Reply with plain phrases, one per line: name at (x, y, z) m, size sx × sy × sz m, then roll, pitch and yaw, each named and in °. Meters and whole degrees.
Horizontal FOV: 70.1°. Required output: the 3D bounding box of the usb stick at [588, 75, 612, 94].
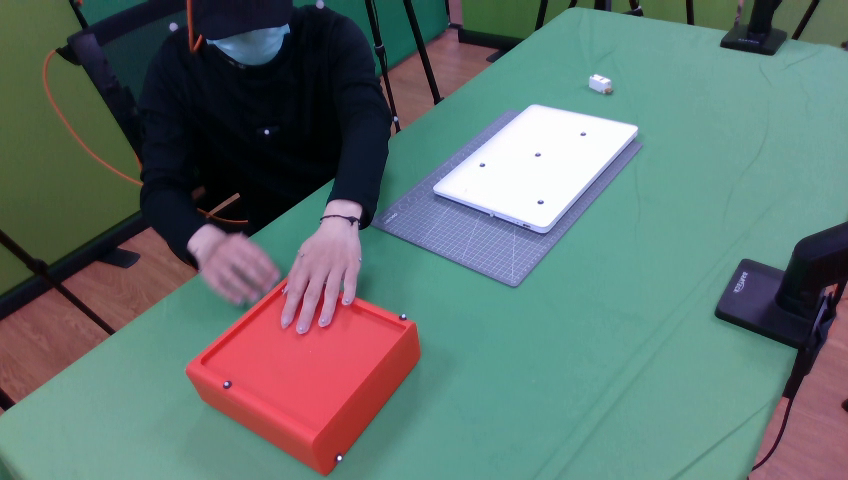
usb stick at (0.381, -0.333, 1.304) m, size 0.021 × 0.027 × 0.058 m, roll -25°, pitch 46°, yaw -22°

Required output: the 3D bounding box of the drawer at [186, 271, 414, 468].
drawer at (-0.150, 0.154, 0.768) m, size 0.210 × 0.073 × 0.195 m, roll 20°, pitch 47°, yaw 27°

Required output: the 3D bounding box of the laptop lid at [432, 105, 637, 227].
laptop lid at (0.207, -0.152, 1.105) m, size 0.239 × 0.013 × 0.358 m, roll 23°, pitch 49°, yaw 34°

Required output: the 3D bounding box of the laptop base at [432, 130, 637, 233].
laptop base at (0.210, -0.142, 1.111) m, size 0.233 × 0.023 × 0.355 m, roll 21°, pitch 47°, yaw 34°

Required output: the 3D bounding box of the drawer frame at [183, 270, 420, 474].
drawer frame at (-0.149, 0.153, 0.767) m, size 0.212 × 0.083 × 0.202 m, roll 20°, pitch 46°, yaw 27°
